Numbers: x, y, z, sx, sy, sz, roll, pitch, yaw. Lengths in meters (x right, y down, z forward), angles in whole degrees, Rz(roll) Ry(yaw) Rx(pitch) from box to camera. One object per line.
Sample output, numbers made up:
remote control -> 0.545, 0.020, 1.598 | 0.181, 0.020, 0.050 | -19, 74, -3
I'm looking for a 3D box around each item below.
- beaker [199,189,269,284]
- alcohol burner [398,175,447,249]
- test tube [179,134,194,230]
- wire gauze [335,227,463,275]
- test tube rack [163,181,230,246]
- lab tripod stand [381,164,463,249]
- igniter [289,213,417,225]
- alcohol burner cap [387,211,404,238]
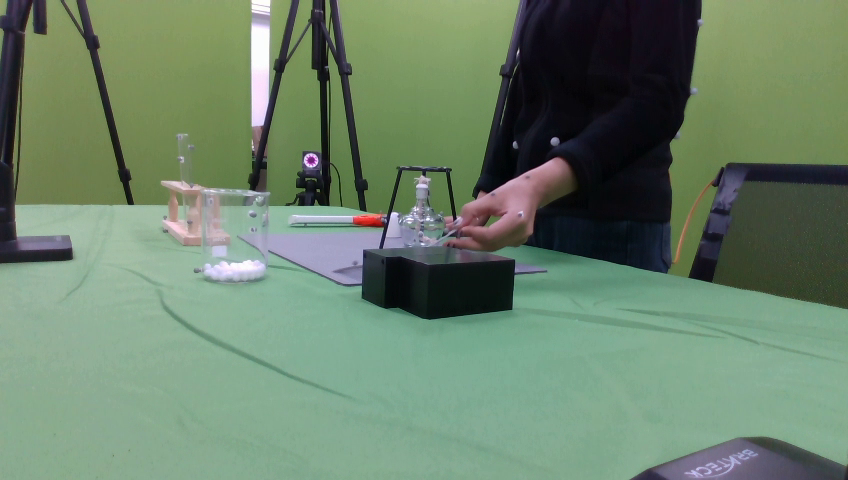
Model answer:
beaker -> -0.209, -0.006, 0.676 | 0.073, 0.100, 0.084 | 7, 8, 28
alcohol burner -> -0.002, -0.046, 0.973 | 0.078, 0.119, 0.078 | 0, 7, 0
test tube -> -0.366, -0.089, 0.938 | 0.017, 0.150, 0.017 | -1, 9, 1
wire gauze -> -0.029, 0.017, 0.733 | 0.124, 0.011, 0.122 | -23, -4, 40
test tube rack -> -0.387, -0.050, 1.015 | 0.067, 0.085, 0.241 | -2, 9, -30
lab tripod stand -> -0.003, -0.055, 0.967 | 0.148, 0.131, 0.148 | 2, 9, 0
igniter -> -0.144, -0.044, 1.275 | 0.278, 0.025, 0.057 | -1, -2, -27
alcohol burner cap -> -0.053, -0.029, 1.107 | 0.034, 0.048, 0.034 | 2, 9, 0
